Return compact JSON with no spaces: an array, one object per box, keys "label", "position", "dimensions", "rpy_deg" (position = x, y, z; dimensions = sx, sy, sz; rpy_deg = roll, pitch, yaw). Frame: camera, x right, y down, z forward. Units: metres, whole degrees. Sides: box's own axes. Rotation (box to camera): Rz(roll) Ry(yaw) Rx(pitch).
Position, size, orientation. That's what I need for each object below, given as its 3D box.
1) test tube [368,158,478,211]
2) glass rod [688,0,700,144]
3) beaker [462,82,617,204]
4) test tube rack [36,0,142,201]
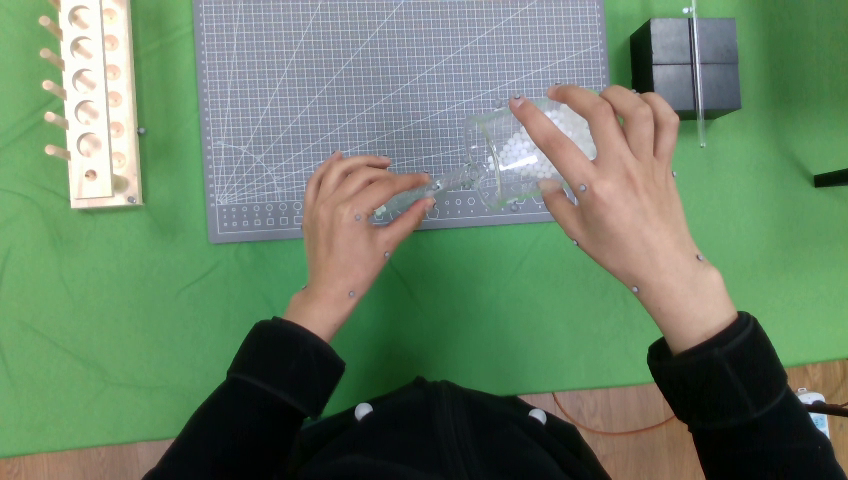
[{"label":"test tube","position":[-0.006,-0.048,0.551],"dimensions":[0.017,0.149,0.017],"rpy_deg":[9,75,-37]},{"label":"glass rod","position":[0.290,-0.203,0.652],"dimensions":[0.008,0.008,0.199],"rpy_deg":[-2,90,-7]},{"label":"beaker","position":[0.087,-0.075,0.464],"dimensions":[0.100,0.084,0.074],"rpy_deg":[-15,88,-8]},{"label":"test tube rack","position":[-0.328,-0.163,0.582],"dimensions":[0.067,0.085,0.242],"rpy_deg":[-4,90,-7]}]
